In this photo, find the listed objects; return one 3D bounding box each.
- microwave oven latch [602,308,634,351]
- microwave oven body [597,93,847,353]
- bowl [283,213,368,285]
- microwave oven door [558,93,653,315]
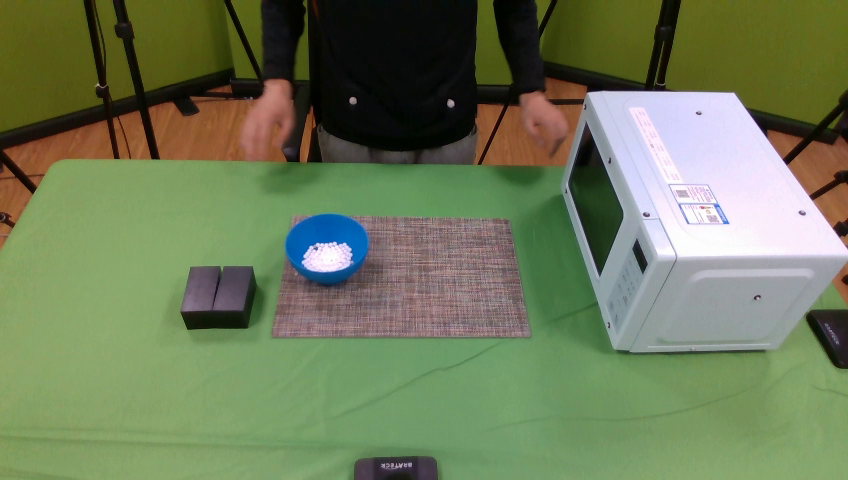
[{"bbox_3d":[0.332,0.153,1.044,0.030,0.029,0.078,-1,45,-4],"label":"microwave oven latch"},{"bbox_3d":[0.475,-0.041,1.109,0.326,0.261,0.438,-1,45,-4],"label":"microwave oven body"},{"bbox_3d":[-0.178,0.030,1.114,0.151,0.077,0.150,3,45,-2],"label":"bowl"},{"bbox_3d":[0.327,-0.074,1.123,0.039,0.245,0.353,0,46,-5],"label":"microwave oven door"}]
